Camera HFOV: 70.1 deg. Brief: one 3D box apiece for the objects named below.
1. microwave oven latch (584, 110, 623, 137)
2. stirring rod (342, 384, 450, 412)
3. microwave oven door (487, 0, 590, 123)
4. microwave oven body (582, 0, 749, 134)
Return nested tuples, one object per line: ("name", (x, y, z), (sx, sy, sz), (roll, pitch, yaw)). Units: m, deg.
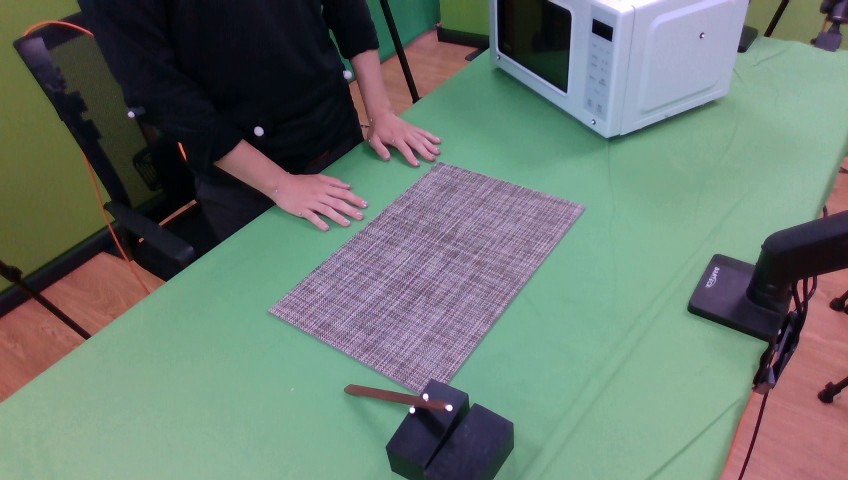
("microwave oven latch", (0.337, -0.222, 1.142), (0.030, 0.029, 0.078), (-21, 42, -14))
("stirring rod", (-0.038, 0.186, 0.714), (0.175, 0.006, 0.014), (-3, 22, 43))
("microwave oven door", (0.232, -0.420, 1.231), (0.039, 0.245, 0.352), (-22, 43, -16))
("microwave oven body", (0.382, -0.444, 1.246), (0.327, 0.261, 0.437), (-22, 42, -16))
